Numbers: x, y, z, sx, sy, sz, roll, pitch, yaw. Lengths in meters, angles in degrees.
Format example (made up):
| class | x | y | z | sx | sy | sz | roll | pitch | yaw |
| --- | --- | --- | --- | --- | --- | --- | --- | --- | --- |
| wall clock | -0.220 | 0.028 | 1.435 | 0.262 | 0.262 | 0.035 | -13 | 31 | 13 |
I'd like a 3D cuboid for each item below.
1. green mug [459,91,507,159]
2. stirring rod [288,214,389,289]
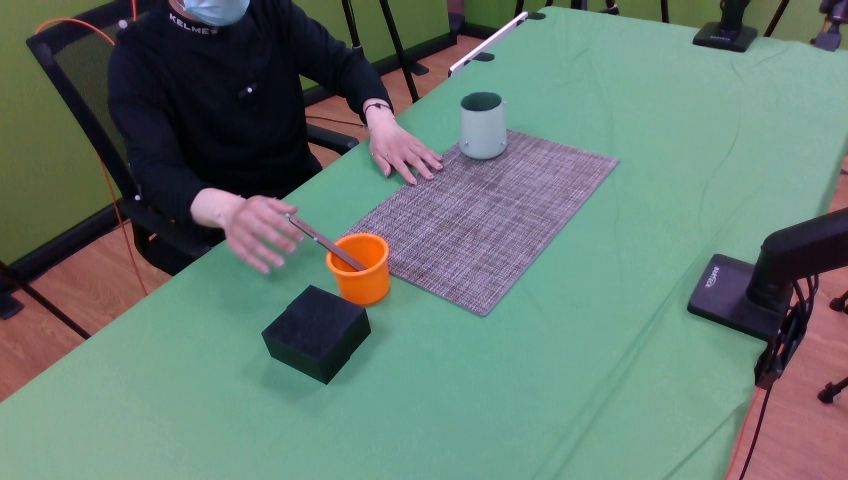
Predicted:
| class | x | y | z | sx | sy | sz | roll | pitch | yaw |
| --- | --- | --- | --- | --- | --- | --- | --- | --- | --- |
| green mug | 0.116 | -0.225 | 1.144 | 0.092 | 0.105 | 0.125 | 14 | 45 | 23 |
| stirring rod | -0.122 | 0.018 | 0.877 | 0.177 | 0.006 | 0.014 | 37 | 47 | -13 |
